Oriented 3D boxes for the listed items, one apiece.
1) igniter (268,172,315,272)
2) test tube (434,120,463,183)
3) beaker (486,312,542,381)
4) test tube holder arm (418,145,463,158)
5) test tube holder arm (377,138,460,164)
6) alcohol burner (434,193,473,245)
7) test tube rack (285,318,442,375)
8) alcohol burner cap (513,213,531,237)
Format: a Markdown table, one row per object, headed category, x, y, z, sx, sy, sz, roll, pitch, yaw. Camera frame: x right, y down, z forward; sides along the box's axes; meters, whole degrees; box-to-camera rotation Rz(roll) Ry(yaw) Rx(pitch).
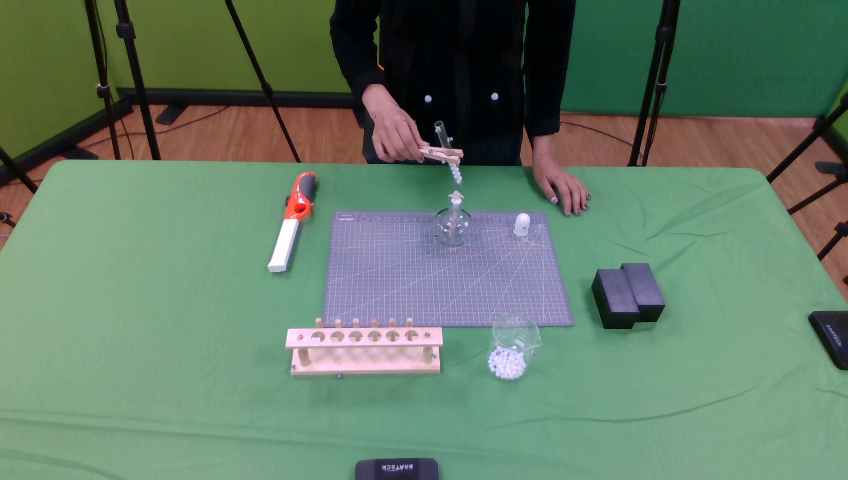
| category | x | y | z | sx | sy | sz | roll | pitch | yaw |
| --- | --- | --- | --- | --- | --- | --- | --- | --- | --- |
| igniter | -0.263 | -0.045 | 1.219 | 0.057 | 0.025 | 0.275 | -2 | 45 | 8 |
| test tube | 0.045 | -0.151 | 1.061 | 0.017 | 0.151 | 0.017 | -10 | 52 | 13 |
| beaker | 0.144 | 0.177 | 0.985 | 0.084 | 0.101 | 0.074 | 22 | 49 | 16 |
| test tube holder arm | 0.028 | -0.157 | 1.076 | 0.087 | 0.015 | 0.010 | 9 | 55 | 25 |
| test tube holder arm | -0.013 | -0.163 | 1.095 | 0.177 | 0.015 | 0.013 | 16 | 58 | 30 |
| alcohol burner | 0.059 | -0.047 | 1.180 | 0.078 | 0.120 | 0.077 | 1 | 48 | -1 |
| test tube rack | -0.095 | 0.168 | 0.986 | 0.242 | 0.085 | 0.066 | 0 | 46 | -4 |
| alcohol burner cap | 0.200 | -0.034 | 1.227 | 0.034 | 0.048 | 0.033 | 2 | 46 | -1 |
